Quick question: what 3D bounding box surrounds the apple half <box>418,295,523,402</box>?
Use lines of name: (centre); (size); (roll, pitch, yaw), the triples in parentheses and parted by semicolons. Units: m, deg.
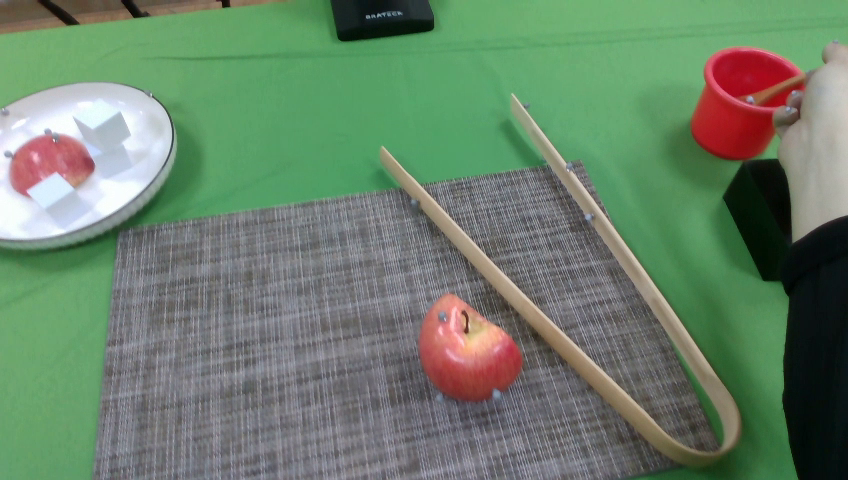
apple half: (0.026, 0.088, 0.448); (0.080, 0.075, 0.053); (37, 66, 20)

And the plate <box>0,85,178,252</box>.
plate: (-0.341, -0.069, 0.587); (0.209, 0.038, 0.207); (0, 54, 0)

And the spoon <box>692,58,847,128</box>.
spoon: (0.357, -0.148, 0.581); (0.022, 0.193, 0.041); (45, 48, -24)

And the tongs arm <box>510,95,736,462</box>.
tongs arm: (0.149, 0.005, 0.535); (0.051, 0.027, 0.380); (-19, 57, -14)

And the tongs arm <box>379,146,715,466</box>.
tongs arm: (0.076, 0.038, 0.513); (0.028, 0.028, 0.384); (-30, 60, -24)

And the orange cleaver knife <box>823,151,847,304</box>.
orange cleaver knife: (0.354, 0.027, 0.487); (0.012, 0.077, 0.211); (-5, 86, -3)

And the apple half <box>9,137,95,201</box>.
apple half: (-0.363, -0.075, 0.585); (0.081, 0.033, 0.080); (-2, 52, 3)
